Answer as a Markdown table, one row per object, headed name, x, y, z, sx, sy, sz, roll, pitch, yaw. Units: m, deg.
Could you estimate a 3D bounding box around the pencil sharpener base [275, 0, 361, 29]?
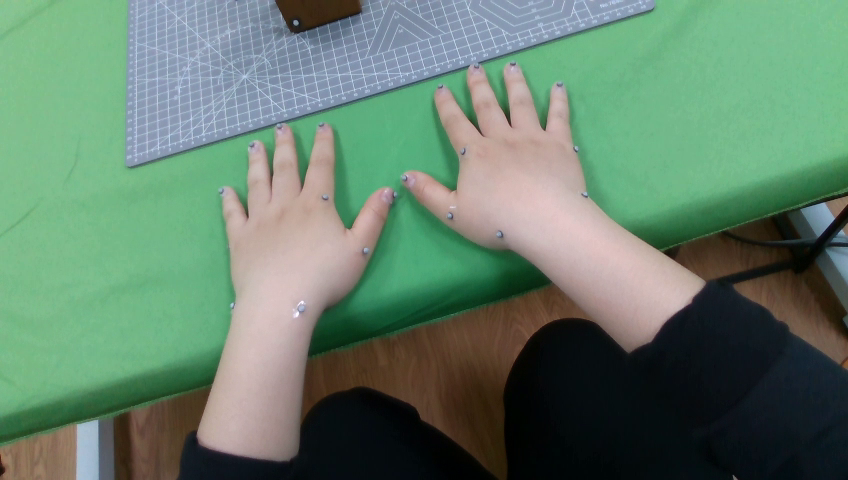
| name | x | y | z | sx | sy | sz | roll | pitch | yaw |
| --- | --- | --- | --- | --- | --- | --- | --- | --- | --- |
| pencil sharpener base | -0.105 | -0.240 | 0.500 | 0.077 | 0.108 | 0.061 | -18 | 62 | 2 |
